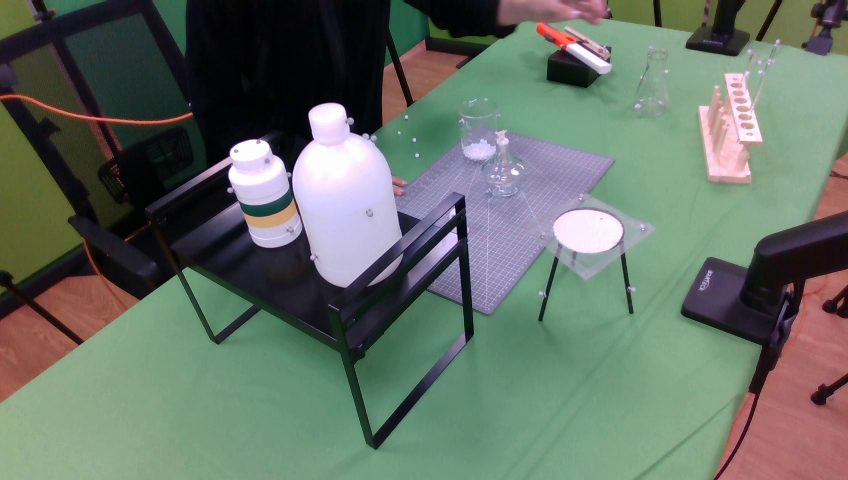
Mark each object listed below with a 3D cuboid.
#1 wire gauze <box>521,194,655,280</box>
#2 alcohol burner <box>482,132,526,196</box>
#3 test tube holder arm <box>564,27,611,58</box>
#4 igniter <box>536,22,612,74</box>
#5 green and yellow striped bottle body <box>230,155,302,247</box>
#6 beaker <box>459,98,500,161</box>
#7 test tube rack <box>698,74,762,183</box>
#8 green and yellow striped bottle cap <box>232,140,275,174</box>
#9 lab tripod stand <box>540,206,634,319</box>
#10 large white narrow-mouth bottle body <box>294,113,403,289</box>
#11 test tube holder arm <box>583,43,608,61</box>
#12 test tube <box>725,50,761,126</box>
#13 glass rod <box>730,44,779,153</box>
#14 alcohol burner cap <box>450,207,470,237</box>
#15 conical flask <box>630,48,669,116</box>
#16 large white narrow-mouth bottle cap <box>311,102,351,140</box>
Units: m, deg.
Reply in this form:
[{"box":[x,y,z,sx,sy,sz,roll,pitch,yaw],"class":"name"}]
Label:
[{"box":[0.207,-0.012,0.772,0.122,0.011,0.124,-28,44,-20],"class":"wire gauze"},{"box":[0.137,-0.136,1.042,0.078,0.119,0.077,-4,43,4],"class":"alcohol burner"},{"box":[0.369,-0.450,1.373,0.013,0.015,0.177,-39,41,10],"class":"test tube holder arm"},{"box":[0.330,-0.439,1.366,0.057,0.025,0.274,-11,41,-19],"class":"igniter"},{"box":[-0.188,-0.055,0.714,0.063,0.120,0.063,-4,41,4],"class":"green and yellow striped bottle body"},{"box":[0.104,-0.208,1.142,0.074,0.101,0.083,-20,42,-15],"class":"beaker"},{"box":[0.547,-0.208,1.095,0.066,0.085,0.242,5,42,15],"class":"test tube rack"},{"box":[-0.192,-0.094,0.680,0.045,0.020,0.045,-5,39,5],"class":"green and yellow striped bottle cap"},{"box":[0.218,0.034,0.821,0.148,0.132,0.147,-4,42,4],"class":"lab tripod stand"},{"box":[-0.082,-0.047,0.634,0.102,0.195,0.101,-4,39,4],"class":"large white narrow-mouth bottle body"},{"box":[0.379,-0.420,1.341,0.010,0.015,0.087,-39,41,10],"class":"test tube holder arm"},{"box":[0.570,-0.269,1.086,0.017,0.151,0.017,-1,45,2],"class":"test tube"},{"box":[0.555,-0.234,1.021,0.008,0.200,0.008,2,40,-1],"class":"glass rod"},{"box":[0.057,-0.032,0.987,0.034,0.048,0.033,-4,41,4],"class":"alcohol burner cap"},{"box":[0.456,-0.317,1.205,0.075,0.122,0.075,-4,41,4],"class":"conical flask"},{"box":[-0.089,-0.114,0.579,0.038,0.024,0.037,-4,39,3],"class":"large white narrow-mouth bottle cap"}]
